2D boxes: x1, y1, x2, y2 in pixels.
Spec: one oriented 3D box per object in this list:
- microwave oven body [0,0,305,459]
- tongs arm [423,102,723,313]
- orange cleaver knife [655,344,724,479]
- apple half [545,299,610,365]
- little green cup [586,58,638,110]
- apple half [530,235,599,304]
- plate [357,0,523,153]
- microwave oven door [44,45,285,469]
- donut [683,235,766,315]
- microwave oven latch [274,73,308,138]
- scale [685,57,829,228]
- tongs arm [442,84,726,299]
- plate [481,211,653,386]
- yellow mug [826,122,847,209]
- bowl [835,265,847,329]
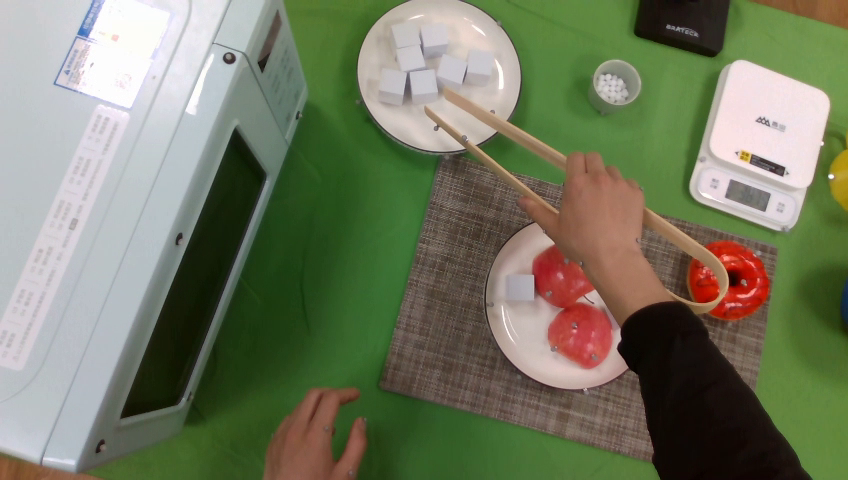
[{"bbox_3d":[-0.353,-0.063,0.599,0.326,0.260,0.440,18,80,-2],"label":"microwave oven body"},{"bbox_3d":[0.142,-0.051,0.652,0.051,0.027,0.381,-40,66,-11],"label":"tongs arm"},{"bbox_3d":[0.324,0.233,0.728,0.077,0.012,0.210,-2,80,-10],"label":"orange cleaver knife"},{"bbox_3d":[0.187,0.106,0.721,0.081,0.033,0.081,0,81,0],"label":"apple half"},{"bbox_3d":[0.241,-0.200,0.785,0.061,0.039,0.061,1,80,-4],"label":"little green cup"},{"bbox_3d":[0.170,0.032,0.723,0.081,0.053,0.074,-28,81,-8],"label":"apple half"},{"bbox_3d":[0.020,-0.207,0.769,0.208,0.039,0.207,1,81,-4],"label":"plate"},{"bbox_3d":[-0.228,0.022,0.590,0.039,0.244,0.354,18,80,-1],"label":"microwave oven door"},{"bbox_3d":[0.370,0.043,0.749,0.099,0.048,0.098,0,80,-2],"label":"donut"},{"bbox_3d":[-0.165,-0.166,0.728,0.030,0.029,0.079,21,81,-1],"label":"microwave oven latch"},{"bbox_3d":[0.436,-0.129,0.792,0.149,0.031,0.200,20,80,-1],"label":"scale"},{"bbox_3d":[0.158,-0.066,0.657,0.384,0.028,0.028,40,73,23],"label":"tongs arm"},{"bbox_3d":[0.169,0.069,0.732,0.209,0.038,0.208,1,81,-4],"label":"plate"},{"bbox_3d":[0.583,-0.103,0.783,0.100,0.064,0.130,-17,82,-6],"label":"yellow mug"},{"bbox_3d":[0.571,0.076,0.747,0.151,0.077,0.151,1,81,-4],"label":"bowl"}]
